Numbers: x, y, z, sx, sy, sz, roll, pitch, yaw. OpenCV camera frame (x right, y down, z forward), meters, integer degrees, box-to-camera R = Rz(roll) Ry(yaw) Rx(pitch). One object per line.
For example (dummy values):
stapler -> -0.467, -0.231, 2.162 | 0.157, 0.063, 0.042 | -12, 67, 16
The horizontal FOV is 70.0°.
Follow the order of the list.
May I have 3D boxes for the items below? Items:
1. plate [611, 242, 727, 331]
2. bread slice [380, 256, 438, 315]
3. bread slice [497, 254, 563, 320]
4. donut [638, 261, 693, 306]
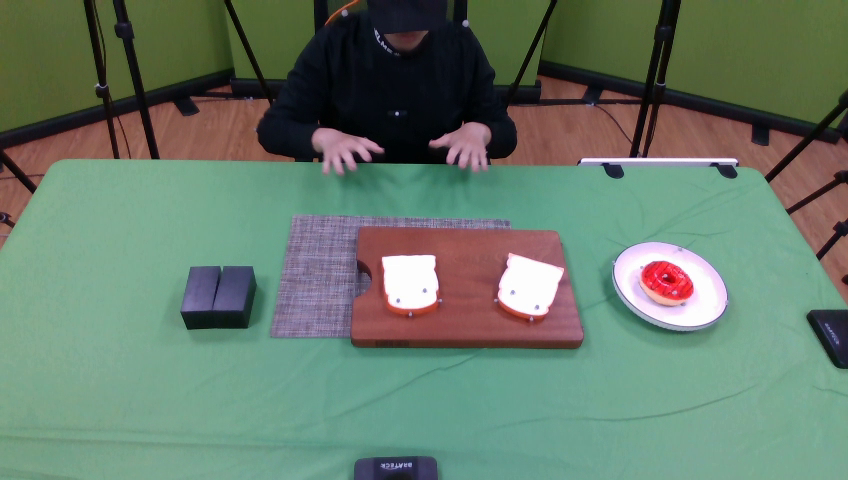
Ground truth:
plate -> 0.455, 0.090, 1.138 | 0.209, 0.038, 0.208 | 3, 45, -2
bread slice -> -0.024, 0.079, 1.087 | 0.105, 0.019, 0.130 | -3, 45, -6
bread slice -> 0.189, 0.087, 1.095 | 0.107, 0.018, 0.134 | 15, 45, 10
donut -> 0.451, 0.081, 1.131 | 0.099, 0.048, 0.098 | 4, 44, -3
